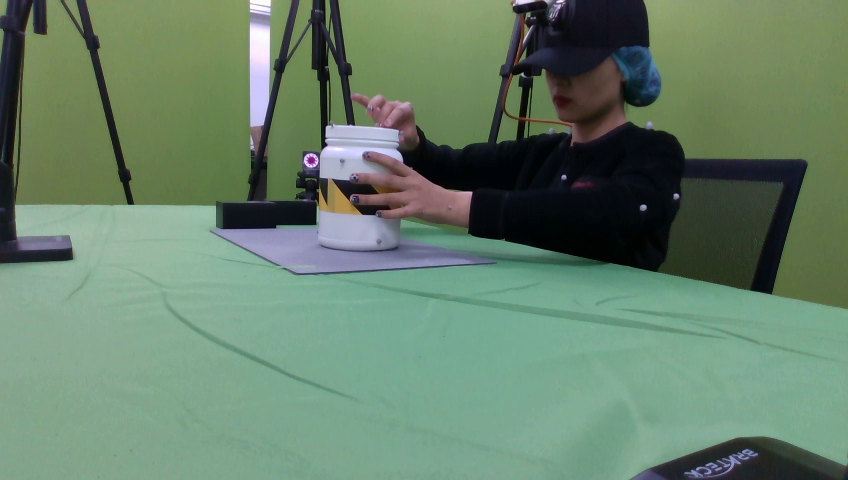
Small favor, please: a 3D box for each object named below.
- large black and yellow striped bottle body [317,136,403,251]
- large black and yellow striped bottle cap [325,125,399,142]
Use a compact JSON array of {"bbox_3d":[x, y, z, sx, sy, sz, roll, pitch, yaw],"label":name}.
[{"bbox_3d":[-0.100,-0.081,0.953,0.131,0.184,0.130,3,7,0],"label":"large black and yellow striped bottle body"},{"bbox_3d":[-0.096,-0.165,0.942,0.115,0.019,0.115,4,8,0],"label":"large black and yellow striped bottle cap"}]
